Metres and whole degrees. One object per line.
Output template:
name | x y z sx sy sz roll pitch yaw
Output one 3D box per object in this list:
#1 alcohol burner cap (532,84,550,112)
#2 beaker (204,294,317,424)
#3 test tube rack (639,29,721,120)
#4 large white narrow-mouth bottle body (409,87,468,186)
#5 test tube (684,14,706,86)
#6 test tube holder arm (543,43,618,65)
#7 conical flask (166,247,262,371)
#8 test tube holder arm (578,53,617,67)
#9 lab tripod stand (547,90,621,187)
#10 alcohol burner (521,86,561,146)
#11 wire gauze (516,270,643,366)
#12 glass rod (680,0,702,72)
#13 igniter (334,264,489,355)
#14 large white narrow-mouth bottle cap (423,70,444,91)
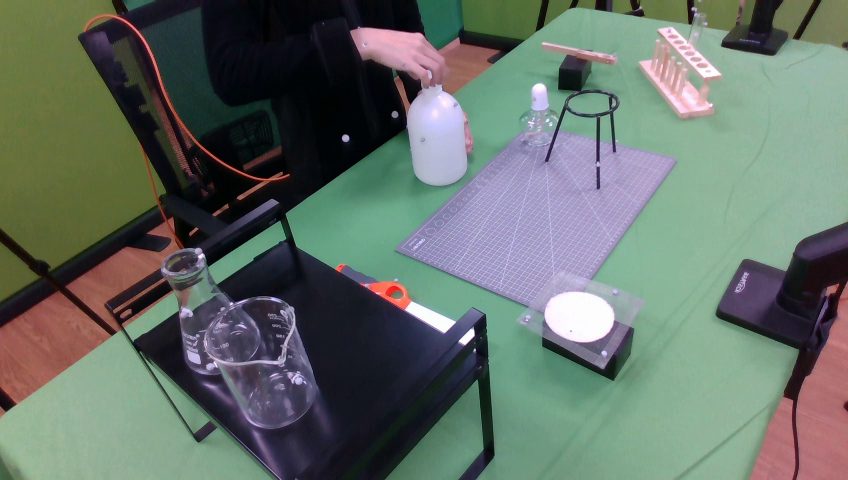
alcohol burner cap | 0.218 -0.269 1.133 0.034 0.048 0.033 -8 36 7
beaker | -0.137 0.110 0.536 0.083 0.101 0.074 30 53 36
test tube rack | 0.527 -0.351 1.262 0.067 0.085 0.241 -8 40 1
large white narrow-mouth bottle body | 0.024 -0.201 1.082 0.102 0.195 0.101 -4 40 4
test tube | 0.540 -0.378 1.215 0.017 0.151 0.017 -2 44 3
test tube holder arm | 0.344 -0.413 1.340 0.177 0.015 0.013 25 51 31
conical flask | -0.209 0.064 0.584 0.075 0.122 0.075 -5 40 4
test tube holder arm | 0.376 -0.393 1.314 0.087 0.015 0.010 26 51 32
lab tripod stand | 0.288 -0.184 1.062 0.148 0.132 0.147 -6 41 6
alcohol burner | 0.223 -0.241 1.155 0.078 0.119 0.077 -5 43 5
wire gauze | 0.200 0.093 0.777 0.124 0.011 0.122 23 49 32
glass rod | 0.542 -0.417 1.233 0.008 0.200 0.008 1 40 0
igniter | -0.030 0.095 0.871 0.274 0.025 0.057 22 59 31
large white narrow-mouth bottle cap | 0.016 -0.270 1.022 0.038 0.024 0.037 -4 40 4
